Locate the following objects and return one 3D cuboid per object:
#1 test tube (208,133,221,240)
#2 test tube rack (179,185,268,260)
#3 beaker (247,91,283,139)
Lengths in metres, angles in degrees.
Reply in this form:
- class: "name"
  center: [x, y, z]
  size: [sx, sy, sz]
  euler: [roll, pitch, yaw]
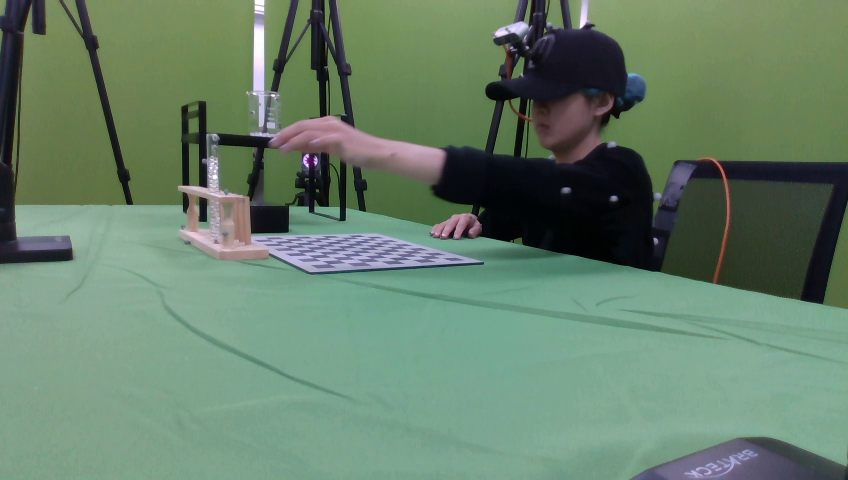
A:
- class: "test tube"
  center: [-0.295, -0.075, 0.850]
  size: [0.017, 0.150, 0.017]
  euler: [0, 3, 0]
- class: "test tube rack"
  center: [-0.303, -0.031, 0.898]
  size: [0.067, 0.085, 0.241]
  euler: [-2, 9, -33]
- class: "beaker"
  center: [-0.357, -0.278, 1.348]
  size: [0.073, 0.100, 0.084]
  euler: [9, 10, 39]
